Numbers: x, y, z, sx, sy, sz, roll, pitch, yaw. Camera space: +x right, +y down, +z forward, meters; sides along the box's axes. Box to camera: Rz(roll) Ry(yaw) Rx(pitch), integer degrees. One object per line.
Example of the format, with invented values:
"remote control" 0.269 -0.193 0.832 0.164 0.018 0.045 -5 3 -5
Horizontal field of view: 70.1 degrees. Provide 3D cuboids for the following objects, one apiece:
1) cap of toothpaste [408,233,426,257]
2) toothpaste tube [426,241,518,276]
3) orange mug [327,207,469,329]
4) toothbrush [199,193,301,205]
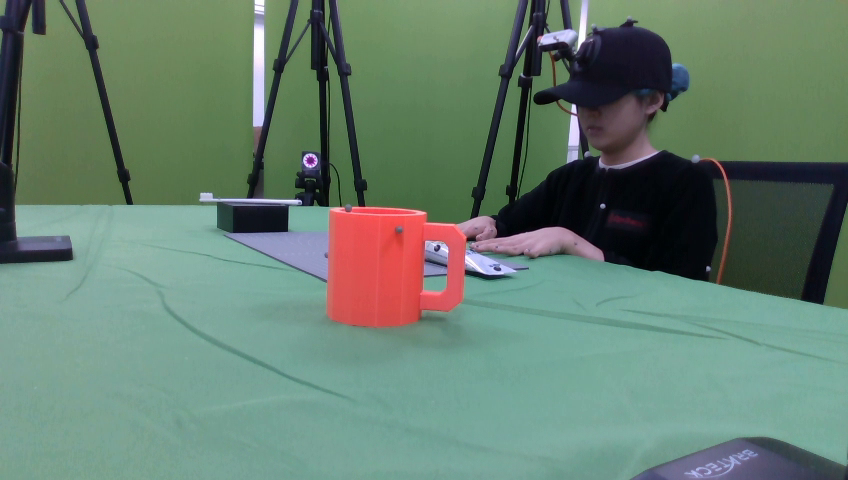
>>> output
"cap of toothpaste" -0.008 0.008 0.864 0.011 0.037 0.037 8 9 38
"toothpaste tube" 0.045 0.024 0.805 0.055 0.034 0.164 -10 18 -41
"orange mug" -0.024 0.021 0.535 0.126 0.100 0.083 -1 6 8
"toothbrush" -0.323 -0.076 1.129 0.182 0.016 0.014 2 5 -15
